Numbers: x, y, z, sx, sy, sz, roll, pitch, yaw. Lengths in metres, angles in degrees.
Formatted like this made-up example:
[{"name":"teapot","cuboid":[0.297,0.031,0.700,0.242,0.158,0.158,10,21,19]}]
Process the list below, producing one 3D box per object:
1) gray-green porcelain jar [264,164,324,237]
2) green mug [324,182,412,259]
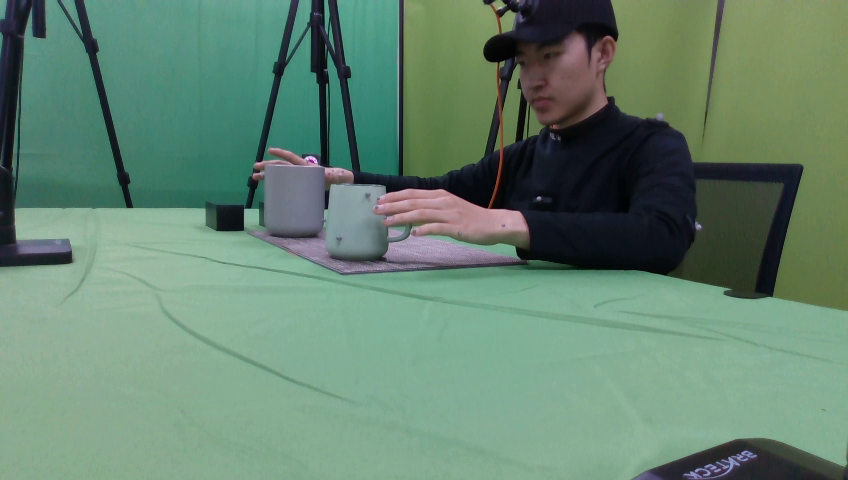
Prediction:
[{"name":"gray-green porcelain jar","cuboid":[-0.233,-0.072,1.088,0.106,0.126,0.106,2,7,0]},{"name":"green mug","cuboid":[-0.079,-0.028,0.864,0.125,0.105,0.092,3,7,9]}]
